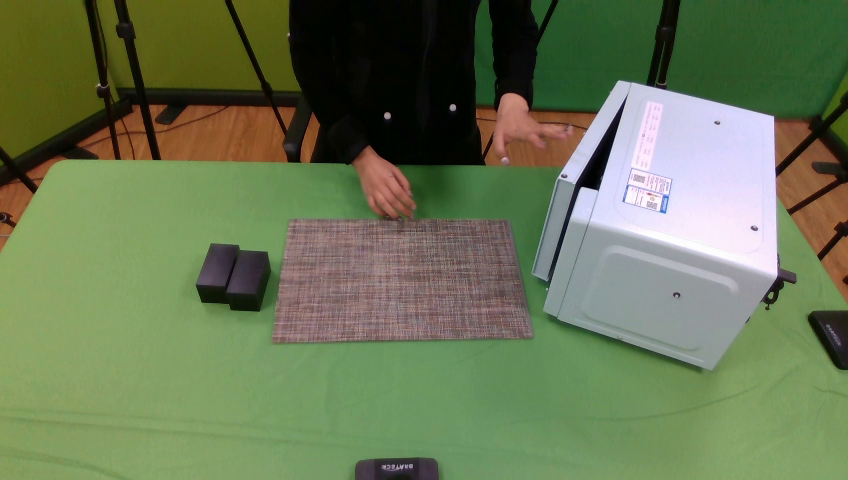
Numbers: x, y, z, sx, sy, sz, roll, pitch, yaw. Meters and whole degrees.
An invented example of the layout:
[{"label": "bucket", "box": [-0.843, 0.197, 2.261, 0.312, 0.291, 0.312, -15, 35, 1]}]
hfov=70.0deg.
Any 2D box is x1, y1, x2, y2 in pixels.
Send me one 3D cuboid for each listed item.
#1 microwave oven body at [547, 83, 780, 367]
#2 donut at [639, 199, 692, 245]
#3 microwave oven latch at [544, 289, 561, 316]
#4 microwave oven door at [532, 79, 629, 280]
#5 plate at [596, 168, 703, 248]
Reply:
[{"label": "microwave oven body", "box": [0.445, -0.041, 1.101, 0.325, 0.261, 0.440, 17, 47, 13]}, {"label": "donut", "box": [0.460, -0.035, 1.159, 0.099, 0.048, 0.098, 2, 62, -4]}, {"label": "microwave oven latch", "box": [0.237, 0.098, 1.087, 0.030, 0.029, 0.079, 18, 47, 14]}, {"label": "microwave oven door", "box": [0.306, -0.122, 1.161, 0.039, 0.245, 0.355, 23, 49, 17]}, {"label": "plate", "box": [0.432, -0.059, 1.178, 0.209, 0.038, 0.208, 7, 47, -7]}]
